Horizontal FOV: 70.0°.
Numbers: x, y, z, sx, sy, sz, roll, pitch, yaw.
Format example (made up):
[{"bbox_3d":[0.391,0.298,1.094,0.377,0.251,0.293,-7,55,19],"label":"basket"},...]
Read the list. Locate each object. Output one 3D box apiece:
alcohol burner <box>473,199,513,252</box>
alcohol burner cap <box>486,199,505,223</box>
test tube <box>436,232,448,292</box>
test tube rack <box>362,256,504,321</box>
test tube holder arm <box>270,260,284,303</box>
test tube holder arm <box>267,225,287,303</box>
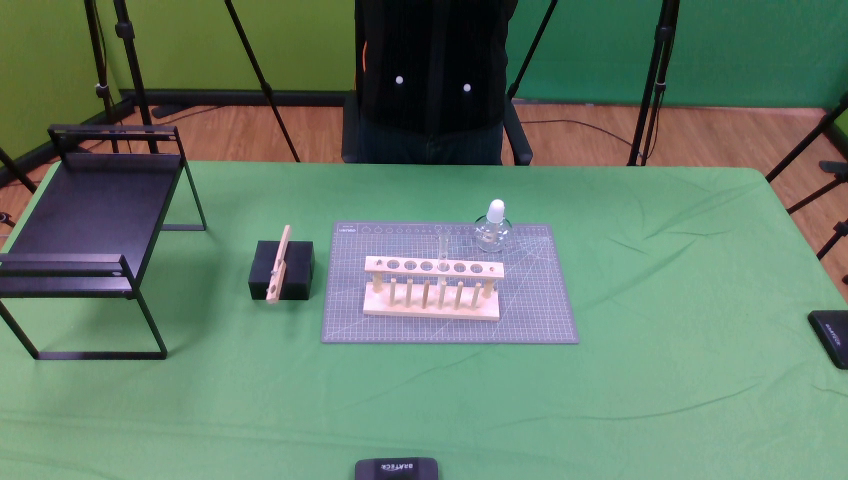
[{"bbox_3d":[0.135,-0.034,1.174,0.078,0.120,0.077,1,47,-1],"label":"alcohol burner"},{"bbox_3d":[0.137,-0.058,1.148,0.034,0.048,0.033,3,52,-4],"label":"alcohol burner cap"},{"bbox_3d":[0.030,0.042,1.042,0.017,0.151,0.017,1,48,-1],"label":"test tube"},{"bbox_3d":[0.015,0.085,1.069,0.242,0.085,0.066,3,45,-2],"label":"test tube rack"},{"bbox_3d":[-0.252,0.071,1.045,0.010,0.015,0.087,-4,46,2],"label":"test tube holder arm"},{"bbox_3d":[-0.260,0.039,1.077,0.013,0.015,0.177,-5,46,1],"label":"test tube holder arm"}]
